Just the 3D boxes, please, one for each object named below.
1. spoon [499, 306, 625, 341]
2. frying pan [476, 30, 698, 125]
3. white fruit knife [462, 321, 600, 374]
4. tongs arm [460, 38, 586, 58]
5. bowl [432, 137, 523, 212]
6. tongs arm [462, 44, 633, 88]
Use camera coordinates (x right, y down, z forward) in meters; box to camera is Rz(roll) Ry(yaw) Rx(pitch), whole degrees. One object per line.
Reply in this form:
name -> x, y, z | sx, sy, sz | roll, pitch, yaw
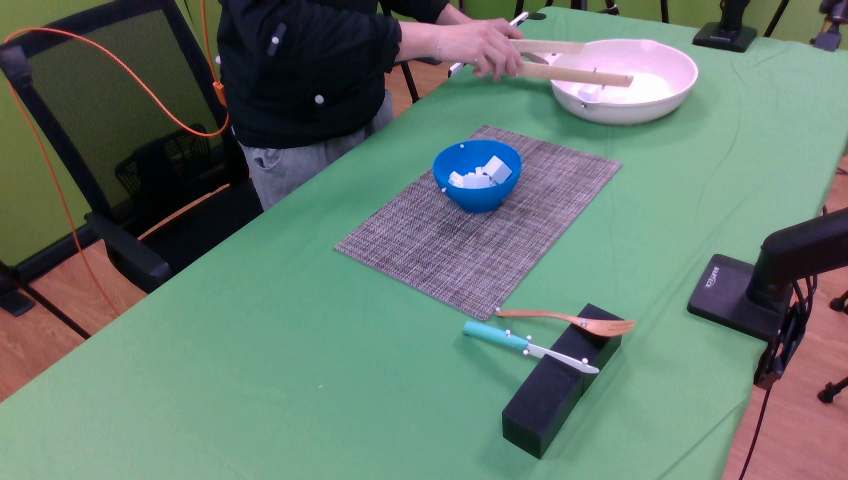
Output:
spoon -> 0.169, 0.102, 0.773 | 0.042, 0.021, 0.192 | -11, 14, -37
frying pan -> 0.321, -0.371, 1.290 | 0.484, 0.103, 0.307 | 29, 51, 24
white fruit knife -> 0.126, 0.132, 0.752 | 0.205, 0.027, 0.016 | 12, 48, 42
tongs arm -> 0.194, -0.355, 1.118 | 0.390, 0.028, 0.028 | -17, 57, -43
bowl -> 0.091, -0.100, 1.022 | 0.151, 0.077, 0.150 | -4, 41, 4
tongs arm -> 0.234, -0.306, 1.078 | 0.388, 0.026, 0.050 | -6, 47, -35
